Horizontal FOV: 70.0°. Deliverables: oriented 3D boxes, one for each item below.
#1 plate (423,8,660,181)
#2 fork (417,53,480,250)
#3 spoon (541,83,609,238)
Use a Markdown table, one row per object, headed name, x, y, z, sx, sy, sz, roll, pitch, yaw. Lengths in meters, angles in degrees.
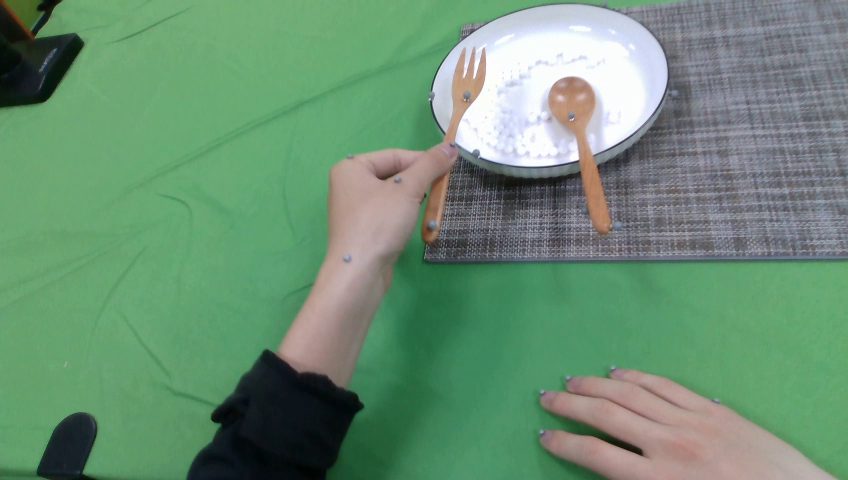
| name | x | y | z | sx | sy | sz | roll | pitch | yaw |
| --- | --- | --- | --- | --- | --- | --- | --- | --- | --- |
| plate | 0.104 | -0.131 | 0.552 | 0.207 | 0.039 | 0.205 | -7 | 54 | 10 |
| fork | 0.019 | -0.078 | 0.474 | 0.028 | 0.019 | 0.205 | 10 | 54 | 6 |
| spoon | 0.123 | -0.071 | 0.485 | 0.041 | 0.022 | 0.192 | -5 | 41 | 7 |
